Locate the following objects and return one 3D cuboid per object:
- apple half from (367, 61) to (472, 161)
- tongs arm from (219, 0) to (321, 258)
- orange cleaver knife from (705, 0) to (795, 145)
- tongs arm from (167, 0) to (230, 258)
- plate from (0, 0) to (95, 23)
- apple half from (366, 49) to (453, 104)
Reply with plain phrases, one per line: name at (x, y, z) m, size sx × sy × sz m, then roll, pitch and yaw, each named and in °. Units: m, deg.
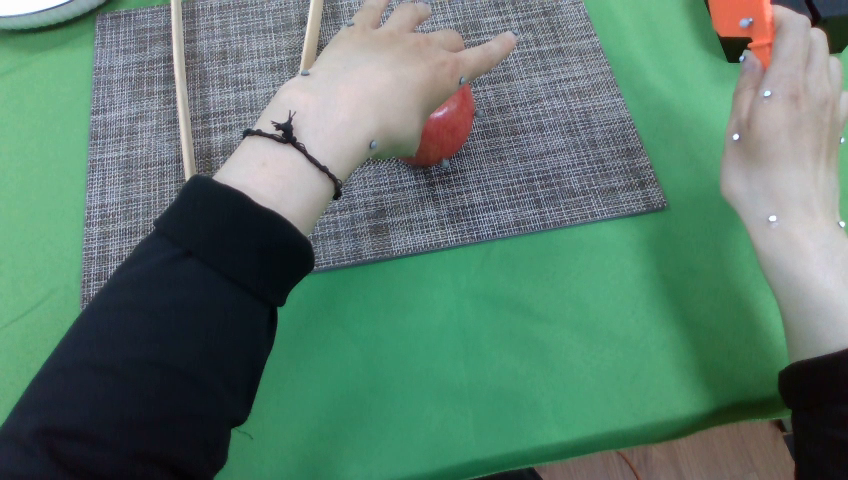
apple half at (0.000, -0.091, 0.467) m, size 0.081 × 0.075 × 0.053 m, roll -14°, pitch 67°, yaw -10°
tongs arm at (-0.120, -0.164, 0.525) m, size 0.051 × 0.027 × 0.381 m, roll 1°, pitch 65°, yaw 0°
orange cleaver knife at (0.216, -0.169, 0.415) m, size 0.012 × 0.076 × 0.212 m, roll -20°, pitch 107°, yaw -4°
tongs arm at (-0.205, -0.157, 0.524) m, size 0.028 × 0.028 × 0.384 m, roll -11°, pitch 65°, yaw -9°
plate at (-0.368, -0.282, 0.581) m, size 0.209 × 0.038 × 0.207 m, roll 0°, pitch 64°, yaw 0°
apple half at (-0.012, -0.124, 0.482) m, size 0.081 × 0.082 × 0.032 m, roll -15°, pitch 67°, yaw -7°
